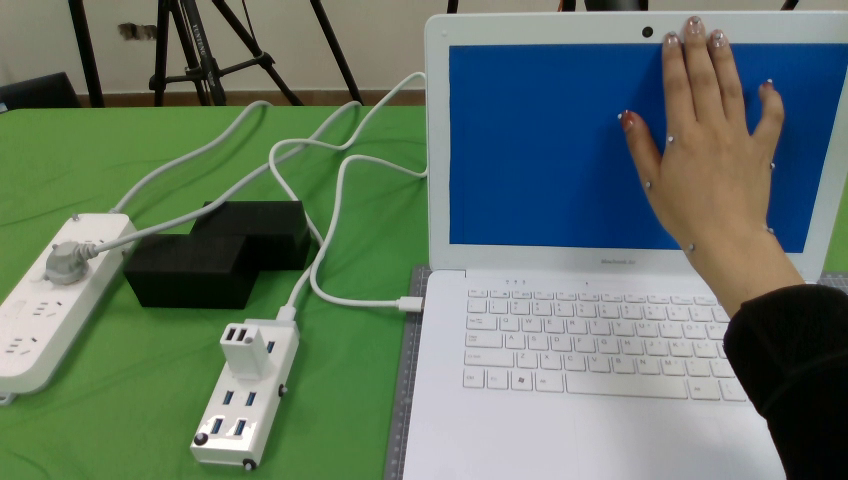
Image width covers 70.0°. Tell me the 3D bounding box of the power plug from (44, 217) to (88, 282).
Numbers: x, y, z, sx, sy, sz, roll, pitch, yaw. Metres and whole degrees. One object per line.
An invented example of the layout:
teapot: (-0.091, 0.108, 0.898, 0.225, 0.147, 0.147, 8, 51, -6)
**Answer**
power plug: (-0.342, 0.014, 0.587, 0.035, 0.053, 0.072, -3, 35, -13)

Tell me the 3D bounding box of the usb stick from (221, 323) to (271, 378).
usb stick: (-0.139, 0.093, 0.481, 0.027, 0.060, 0.021, 0, 43, 7)

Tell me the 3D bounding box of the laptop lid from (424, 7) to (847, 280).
laptop lid: (0.176, -0.071, 0.517, 0.356, 0.243, 0.013, 0, 23, 6)

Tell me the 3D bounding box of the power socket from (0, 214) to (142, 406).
power socket: (-0.347, 0.052, 0.578, 0.072, 0.033, 0.224, 2, 42, 5)

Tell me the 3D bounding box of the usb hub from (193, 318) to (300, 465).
usb hub: (-0.141, 0.119, 0.496, 0.049, 0.025, 0.124, 1, 42, 7)

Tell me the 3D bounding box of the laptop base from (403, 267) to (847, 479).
laptop base: (0.168, 0.117, 0.479, 0.354, 0.023, 0.233, 1, 46, 6)
